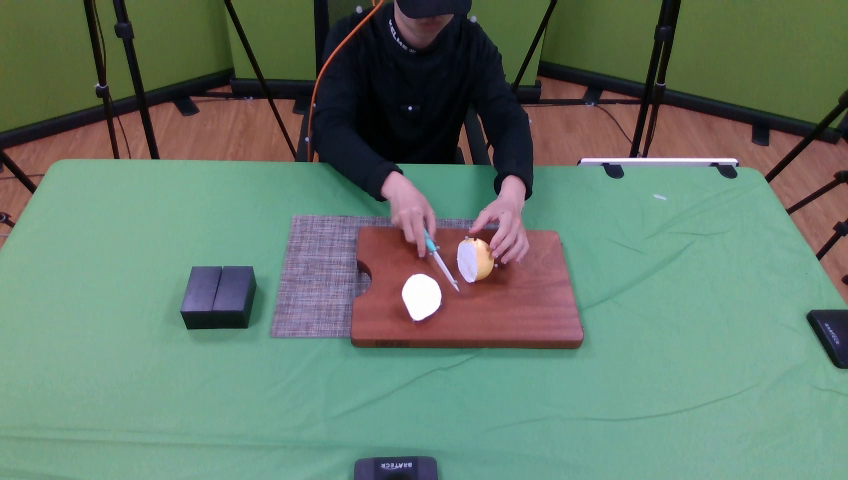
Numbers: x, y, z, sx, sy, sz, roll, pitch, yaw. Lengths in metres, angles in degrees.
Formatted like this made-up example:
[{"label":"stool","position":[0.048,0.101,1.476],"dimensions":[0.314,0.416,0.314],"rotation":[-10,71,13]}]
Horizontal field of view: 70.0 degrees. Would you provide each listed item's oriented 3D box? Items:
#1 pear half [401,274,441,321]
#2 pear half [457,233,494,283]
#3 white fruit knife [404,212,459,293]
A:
[{"label":"pear half","position":[-0.009,0.104,1.051],"dimensions":[0.070,0.031,0.087],"rotation":[21,61,-6]},{"label":"pear half","position":[0.098,0.023,1.087],"dimensions":[0.056,0.110,0.076],"rotation":[-23,55,-24]},{"label":"white fruit knife","position":[0.014,0.019,1.123],"dimensions":[0.016,0.027,0.206],"rotation":[-23,57,-17]}]
